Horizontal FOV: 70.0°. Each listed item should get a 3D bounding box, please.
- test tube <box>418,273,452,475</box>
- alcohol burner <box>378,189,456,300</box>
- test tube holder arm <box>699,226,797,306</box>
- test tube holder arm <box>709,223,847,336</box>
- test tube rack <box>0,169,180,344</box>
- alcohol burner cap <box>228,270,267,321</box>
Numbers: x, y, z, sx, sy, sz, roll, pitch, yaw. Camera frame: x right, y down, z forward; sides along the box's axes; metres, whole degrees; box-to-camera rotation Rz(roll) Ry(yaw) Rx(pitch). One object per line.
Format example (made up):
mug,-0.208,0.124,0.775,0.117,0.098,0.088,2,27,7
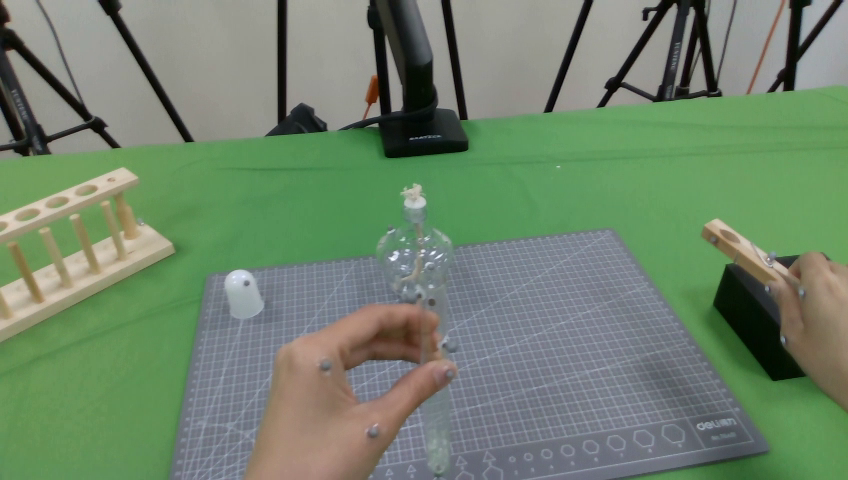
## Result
test tube,0.008,0.082,0.337,0.017,0.151,0.017,-2,34,1
alcohol burner,-0.007,0.000,0.587,0.078,0.120,0.077,0,38,0
test tube holder arm,0.254,0.019,0.476,0.010,0.015,0.087,-30,49,-15
test tube holder arm,0.283,0.042,0.449,0.013,0.015,0.176,-30,49,-15
test tube rack,-0.377,0.022,0.594,0.066,0.086,0.242,28,45,33
alcohol burner cap,-0.171,0.051,0.583,0.034,0.048,0.033,0,37,0
